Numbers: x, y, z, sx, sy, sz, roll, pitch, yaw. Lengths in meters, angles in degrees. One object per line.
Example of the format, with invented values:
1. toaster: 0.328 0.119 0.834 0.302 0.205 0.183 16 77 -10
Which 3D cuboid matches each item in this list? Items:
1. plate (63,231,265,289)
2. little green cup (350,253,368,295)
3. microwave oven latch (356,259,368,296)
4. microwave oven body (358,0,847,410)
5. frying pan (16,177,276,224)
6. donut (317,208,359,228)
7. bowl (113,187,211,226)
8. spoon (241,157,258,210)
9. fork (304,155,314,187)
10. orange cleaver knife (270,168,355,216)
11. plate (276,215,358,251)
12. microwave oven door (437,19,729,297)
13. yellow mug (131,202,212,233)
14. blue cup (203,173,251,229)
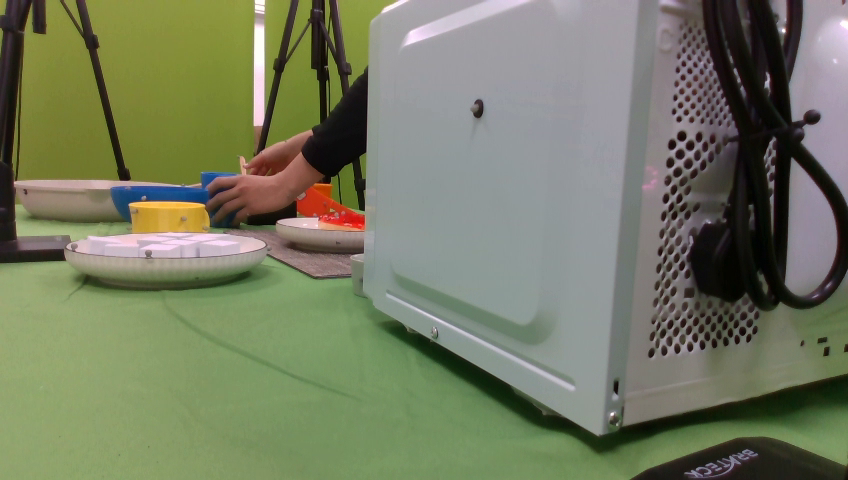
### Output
1. plate: -0.288 0.021 0.687 0.208 0.039 0.207 2 8 0
2. little green cup: -0.048 0.035 0.632 0.061 0.038 0.061 3 6 0
3. microwave oven latch: -0.019 0.031 0.528 0.079 0.029 0.030 -1 7 -24
4. microwave oven body: 0.210 -0.051 0.471 0.444 0.260 0.324 -1 7 -28
5. frying pan: -0.554 -0.097 1.266 0.490 0.102 0.305 -10 13 -24
6. donut: -0.118 -0.024 0.954 0.099 0.048 0.099 6 7 0
7. bowl: -0.436 -0.046 1.013 0.151 0.077 0.151 2 7 0
8. spoon: -0.431 -0.140 1.472 0.042 0.021 0.193 -1 51 -20
9. fork: -0.268 -0.134 1.446 0.028 0.018 0.207 3 -36 0
10. orange cleaver knife: -0.236 -0.084 1.332 0.212 0.077 0.012 31 -9 -31
11. plate: -0.126 -0.012 0.950 0.209 0.038 0.209 2 7 0
12. microwave oven door: 0.180 -0.076 0.618 0.358 0.243 0.039 -2 9 -28
13. yellow mug: -0.356 -0.020 0.878 0.099 0.064 0.131 5 7 21
14. blue cup: -0.382 -0.075 1.163 0.093 0.100 0.092 5 9 0
